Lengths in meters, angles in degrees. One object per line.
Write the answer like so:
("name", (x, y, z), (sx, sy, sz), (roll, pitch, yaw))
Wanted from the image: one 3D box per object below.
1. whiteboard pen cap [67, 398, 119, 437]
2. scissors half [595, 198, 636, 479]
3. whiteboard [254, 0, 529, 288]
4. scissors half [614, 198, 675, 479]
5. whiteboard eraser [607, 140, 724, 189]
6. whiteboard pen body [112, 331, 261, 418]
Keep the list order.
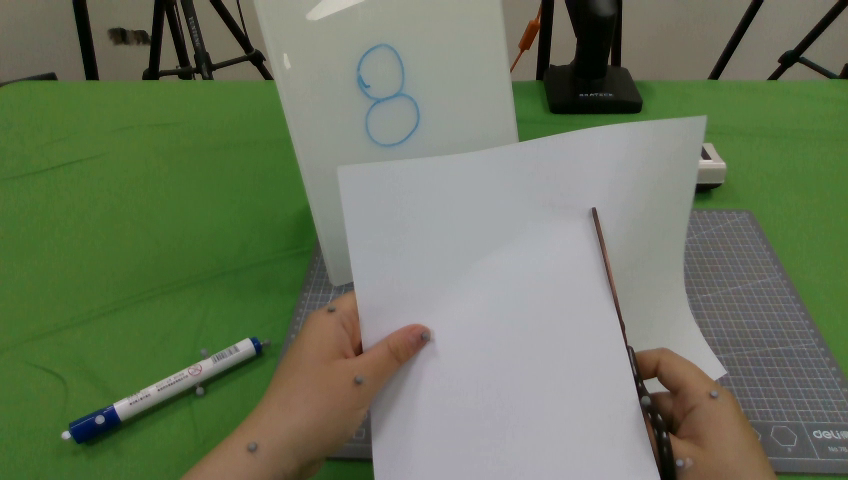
("whiteboard pen cap", (-0.241, 0.129, 0.445), (0.033, 0.018, 0.018), (-27, 46, -27))
("scissors half", (0.120, 0.062, 0.374), (0.013, 0.175, 0.040), (-1, 6, -15))
("whiteboard", (-0.041, -0.146, 0.595), (0.217, 0.307, 0.142), (-18, 23, -17))
("scissors half", (0.124, 0.060, 0.354), (0.013, 0.040, 0.174), (-2, 77, -10))
("whiteboard eraser", (0.264, -0.083, 0.667), (0.113, 0.042, 0.055), (-1, 43, 0))
("whiteboard pen body", (-0.194, 0.108, 0.472), (0.141, 0.017, 0.017), (-26, 46, -27))
